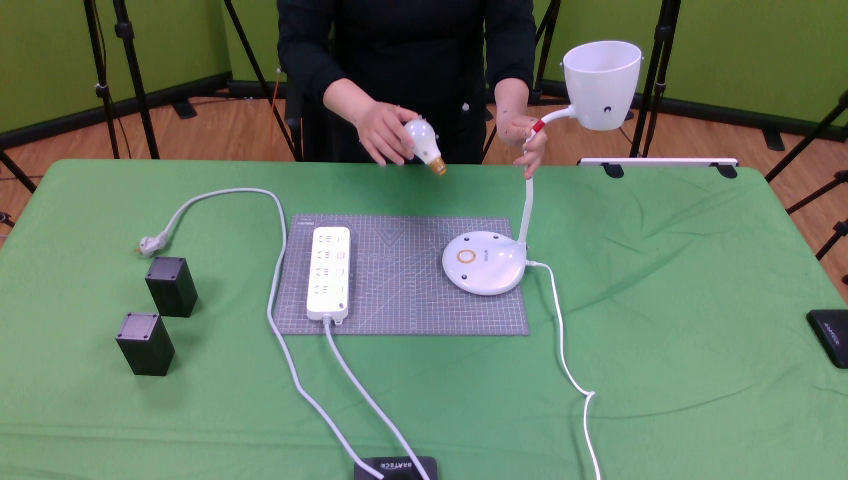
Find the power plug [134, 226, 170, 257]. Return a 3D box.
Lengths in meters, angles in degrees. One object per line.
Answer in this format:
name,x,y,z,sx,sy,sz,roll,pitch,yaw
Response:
power plug,-0.515,0.006,1.152,0.052,0.035,0.072,-6,24,7

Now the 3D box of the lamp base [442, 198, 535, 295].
lamp base,0.130,-0.012,1.105,0.179,0.181,0.159,-1,46,-9

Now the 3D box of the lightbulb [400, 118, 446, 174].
lightbulb,0.002,-0.162,1.054,0.059,0.059,0.108,-39,96,-34

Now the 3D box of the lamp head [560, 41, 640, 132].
lamp head,0.266,-0.227,0.927,0.112,0.123,0.112,-4,38,3

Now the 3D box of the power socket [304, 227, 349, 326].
power socket,-0.177,0.059,1.115,0.072,0.033,0.225,-1,46,-4
